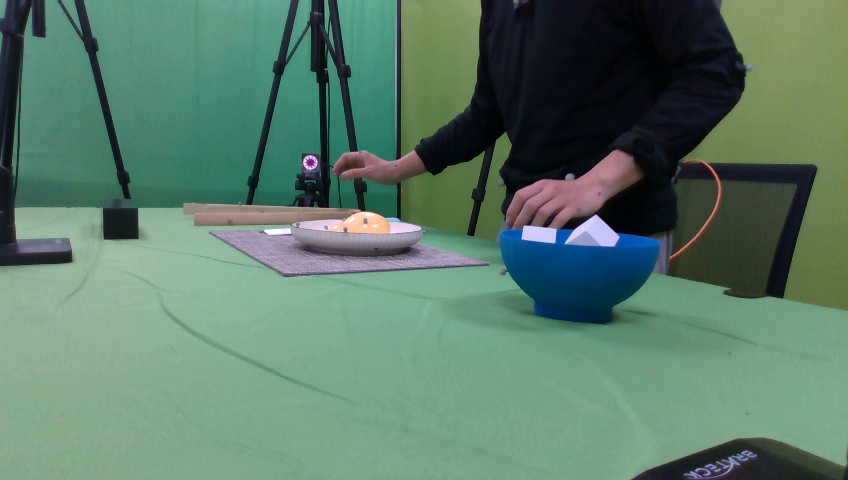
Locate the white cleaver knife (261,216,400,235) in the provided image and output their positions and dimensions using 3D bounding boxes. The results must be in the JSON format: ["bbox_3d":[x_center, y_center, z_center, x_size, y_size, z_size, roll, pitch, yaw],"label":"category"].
[{"bbox_3d":[-0.168,-0.022,1.156,0.288,0.021,0.065,-7,17,-33],"label":"white cleaver knife"}]

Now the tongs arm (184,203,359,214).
[{"bbox_3d":[-0.337,-0.065,1.376,0.387,0.026,0.050,0,9,-25],"label":"tongs arm"}]

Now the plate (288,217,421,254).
[{"bbox_3d":[-0.109,-0.007,0.956,0.208,0.039,0.207,2,7,0],"label":"plate"}]

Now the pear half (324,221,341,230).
[{"bbox_3d":[-0.126,-0.019,1.001,0.088,0.031,0.070,8,3,1],"label":"pear half"}]

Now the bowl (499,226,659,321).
[{"bbox_3d":[0.145,0.032,0.584,0.151,0.077,0.151,2,7,0],"label":"bowl"}]

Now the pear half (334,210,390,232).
[{"bbox_3d":[-0.107,-0.017,0.920,0.110,0.056,0.076,-5,5,-20],"label":"pear half"}]

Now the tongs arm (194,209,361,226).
[{"bbox_3d":[-0.298,-0.050,1.307,0.390,0.028,0.028,-4,8,-37],"label":"tongs arm"}]
